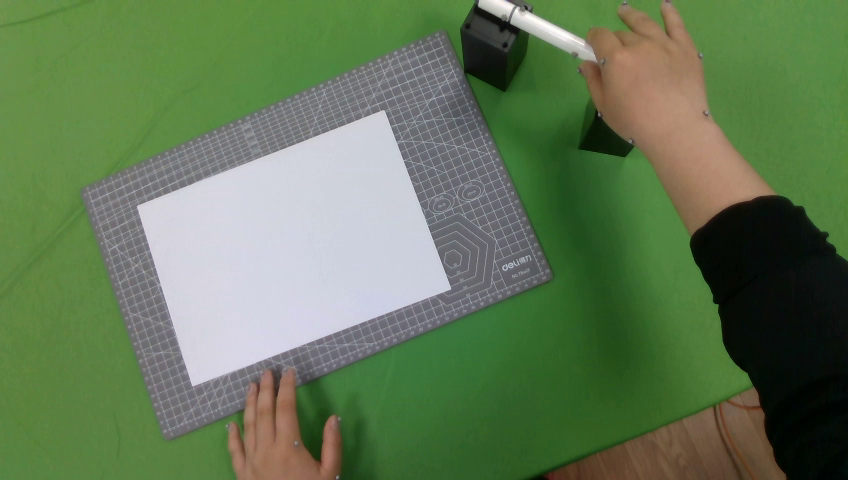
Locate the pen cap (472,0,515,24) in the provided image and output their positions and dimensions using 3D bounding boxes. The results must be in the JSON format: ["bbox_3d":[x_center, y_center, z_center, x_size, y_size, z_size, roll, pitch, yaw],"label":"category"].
[{"bbox_3d":[0.063,-0.214,0.557,0.038,0.017,0.017,29,87,10],"label":"pen cap"}]

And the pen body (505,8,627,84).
[{"bbox_3d":[0.117,-0.182,0.550,0.144,0.017,0.017,31,88,6],"label":"pen body"}]
